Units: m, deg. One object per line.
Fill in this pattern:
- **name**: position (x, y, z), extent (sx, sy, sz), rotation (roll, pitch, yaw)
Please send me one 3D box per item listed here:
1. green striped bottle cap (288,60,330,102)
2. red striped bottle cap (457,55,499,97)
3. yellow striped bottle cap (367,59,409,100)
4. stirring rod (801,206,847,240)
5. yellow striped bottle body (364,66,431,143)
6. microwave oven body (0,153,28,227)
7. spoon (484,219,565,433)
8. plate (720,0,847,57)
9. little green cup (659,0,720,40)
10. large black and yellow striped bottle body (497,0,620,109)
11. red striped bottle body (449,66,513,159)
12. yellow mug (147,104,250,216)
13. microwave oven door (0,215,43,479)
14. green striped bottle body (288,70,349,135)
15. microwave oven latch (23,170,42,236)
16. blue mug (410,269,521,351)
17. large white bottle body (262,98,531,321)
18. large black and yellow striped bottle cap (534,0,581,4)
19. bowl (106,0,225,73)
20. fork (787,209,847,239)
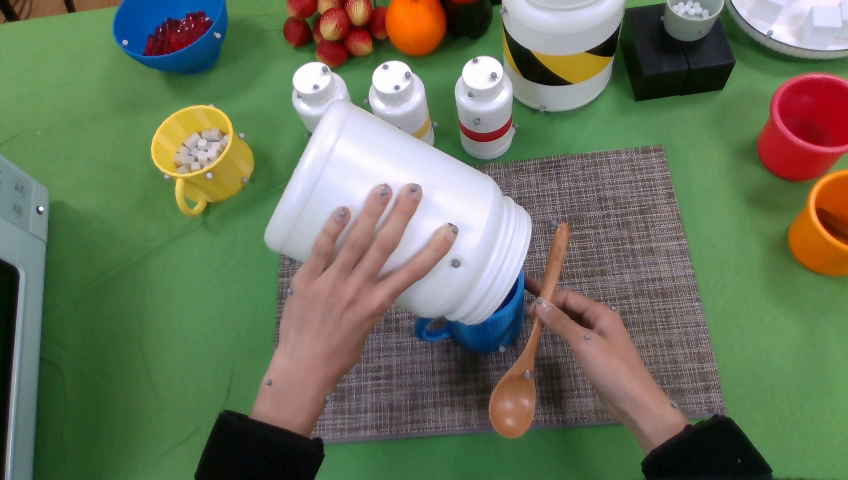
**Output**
- **green striped bottle cap**: position (-0.125, -0.172, 0.657), extent (0.044, 0.020, 0.044), rotation (-2, 66, 5)
- **red striped bottle cap**: position (0.057, -0.172, 0.632), extent (0.044, 0.018, 0.044), rotation (-1, 64, 3)
- **yellow striped bottle cap**: position (-0.038, -0.171, 0.644), extent (0.044, 0.019, 0.044), rotation (-1, 63, 3)
- **stirring rod**: position (0.400, 0.000, 0.559), extent (0.014, 0.006, 0.175), rotation (-3, 23, 4)
- **yellow striped bottle body**: position (-0.030, -0.150, 0.692), extent (0.063, 0.121, 0.062), rotation (-3, 65, 7)
- **microwave oven body**: position (-0.600, 0.111, 0.572), extent (0.326, 0.262, 0.438), rotation (-14, 66, 1)
- **spoon**: position (0.095, 0.075, 0.532), extent (0.041, 0.021, 0.194), rotation (17, 94, 1)
- **plate**: position (0.464, -0.302, 0.738), extent (0.209, 0.038, 0.207), rotation (-3, 67, 6)
- **little green cup**: position (0.297, -0.260, 0.685), extent (0.061, 0.039, 0.061), rotation (-2, 64, 5)
- **large black and yellow striped bottle body**: position (0.147, -0.250, 0.677), extent (0.130, 0.185, 0.130), rotation (-3, 66, 7)
- **red striped bottle body**: position (0.065, -0.149, 0.680), extent (0.063, 0.121, 0.062), rotation (-6, 63, 11)
- **yellow mug**: position (-0.274, -0.091, 0.729), extent (0.100, 0.064, 0.130), rotation (4, 67, 9)
- **microwave oven door**: position (-0.450, 0.111, 0.547), extent (0.039, 0.246, 0.352), rotation (-14, 65, 2)
- **green striped bottle body**: position (-0.117, -0.151, 0.704), extent (0.063, 0.120, 0.062), rotation (-2, 66, 6)
- **microwave oven latch**: position (-0.481, -0.042, 0.729), extent (0.030, 0.030, 0.078), rotation (-12, 66, 2)
- **blue mug**: position (0.039, 0.063, 0.592), extent (0.116, 0.107, 0.081), rotation (-29, 64, -5)
- **large white bottle body**: position (-0.020, -0.017, 0.489), extent (0.185, 0.130, 0.130), rotation (25, 69, -13)
- **large black and yellow striped bottle cap**: position (0.137, -0.284, 0.598), extent (0.115, 0.019, 0.114), rotation (-4, 67, 9)
- **bowl**: position (-0.330, -0.280, 0.813), extent (0.151, 0.077, 0.150), rotation (-3, 66, 6)
- **fork**: position (0.430, -0.002, 0.548), extent (0.028, 0.019, 0.205), rotation (-42, 23, -10)
